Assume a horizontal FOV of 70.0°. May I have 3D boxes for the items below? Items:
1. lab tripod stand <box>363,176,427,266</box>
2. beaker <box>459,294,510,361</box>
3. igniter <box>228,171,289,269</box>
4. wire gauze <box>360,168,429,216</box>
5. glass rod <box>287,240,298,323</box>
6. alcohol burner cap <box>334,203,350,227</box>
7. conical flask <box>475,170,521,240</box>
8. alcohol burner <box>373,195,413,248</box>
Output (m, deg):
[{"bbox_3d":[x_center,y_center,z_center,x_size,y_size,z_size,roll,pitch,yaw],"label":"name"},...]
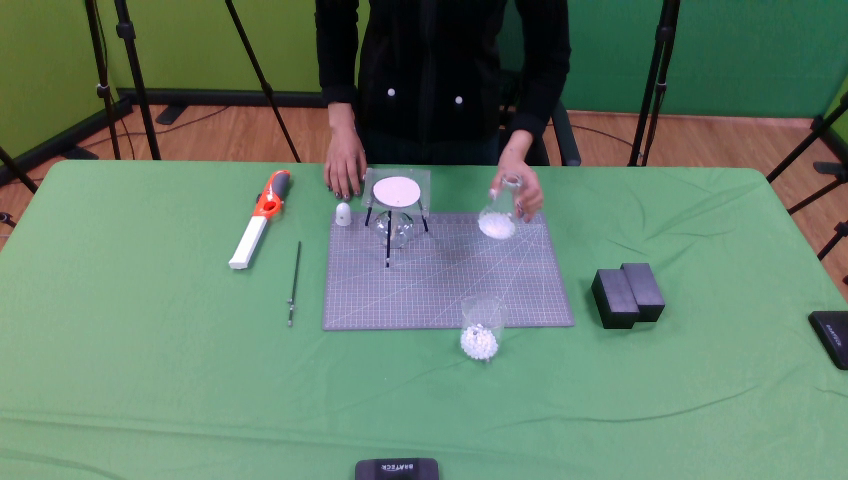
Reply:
[{"bbox_3d":[-0.058,-0.047,1.159,0.148,0.132,0.147,3,44,-2],"label":"lab tripod stand"},{"bbox_3d":[0.095,0.147,1.012,0.083,0.101,0.074,26,49,21],"label":"beaker"},{"bbox_3d":[-0.328,-0.049,1.218,0.057,0.025,0.275,1,45,11],"label":"igniter"},{"bbox_3d":[-0.052,-0.093,1.110,0.125,0.011,0.120,5,44,-1],"label":"wire gauze"},{"bbox_3d":[-0.242,0.071,1.119,0.008,0.008,0.198,-1,47,-5],"label":"glass rod"},{"bbox_3d":[-0.166,-0.054,1.221,0.034,0.048,0.033,3,46,-2],"label":"alcohol burner cap"},{"bbox_3d":[0.136,-0.065,1.058,0.075,0.122,0.075,6,45,-6],"label":"conical flask"},{"bbox_3d":[-0.059,-0.041,1.167,0.078,0.119,0.077,4,45,-4],"label":"alcohol burner"}]
